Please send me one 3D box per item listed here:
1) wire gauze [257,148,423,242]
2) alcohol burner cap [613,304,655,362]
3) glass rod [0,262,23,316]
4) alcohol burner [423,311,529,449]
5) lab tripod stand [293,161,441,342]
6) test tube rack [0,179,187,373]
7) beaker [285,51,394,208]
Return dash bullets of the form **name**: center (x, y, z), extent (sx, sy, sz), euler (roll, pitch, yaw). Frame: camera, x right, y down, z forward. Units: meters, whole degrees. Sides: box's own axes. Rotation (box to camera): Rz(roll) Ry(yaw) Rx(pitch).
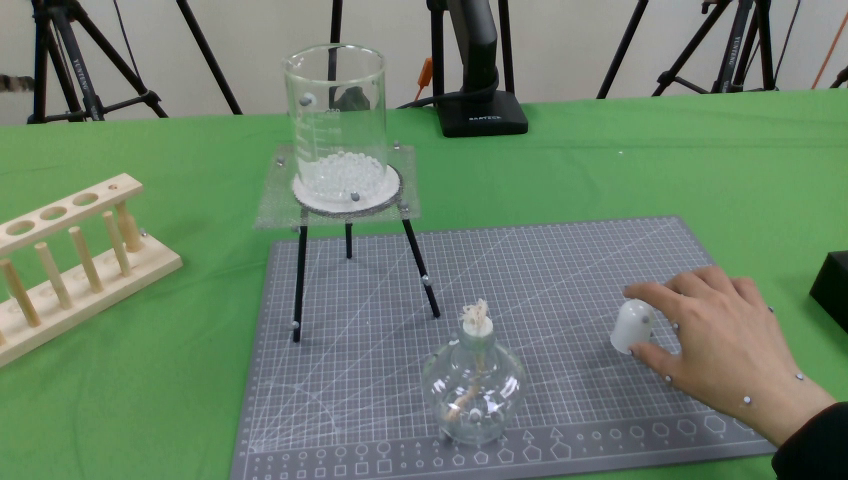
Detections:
- **wire gauze**: center (-0.064, -0.042, 0.485), extent (0.121, 0.011, 0.124), euler (-2, 39, -3)
- **alcohol burner cap**: center (0.180, 0.076, 0.513), extent (0.034, 0.048, 0.033), euler (-1, 36, 1)
- **glass rod**: center (-0.366, -0.019, 0.500), extent (0.008, 0.201, 0.008), euler (0, 29, 0)
- **alcohol burner**: center (0.038, 0.093, 0.431), extent (0.078, 0.120, 0.077), euler (1, 39, 0)
- **lab tripod stand**: center (-0.055, 0.009, 0.527), extent (0.148, 0.132, 0.147), euler (1, 36, 0)
- **test tube rack**: center (-0.343, 0.040, 0.531), extent (0.066, 0.086, 0.242), euler (27, 44, 32)
- **beaker**: center (-0.064, -0.082, 0.458), extent (0.083, 0.101, 0.074), euler (21, 41, 23)
